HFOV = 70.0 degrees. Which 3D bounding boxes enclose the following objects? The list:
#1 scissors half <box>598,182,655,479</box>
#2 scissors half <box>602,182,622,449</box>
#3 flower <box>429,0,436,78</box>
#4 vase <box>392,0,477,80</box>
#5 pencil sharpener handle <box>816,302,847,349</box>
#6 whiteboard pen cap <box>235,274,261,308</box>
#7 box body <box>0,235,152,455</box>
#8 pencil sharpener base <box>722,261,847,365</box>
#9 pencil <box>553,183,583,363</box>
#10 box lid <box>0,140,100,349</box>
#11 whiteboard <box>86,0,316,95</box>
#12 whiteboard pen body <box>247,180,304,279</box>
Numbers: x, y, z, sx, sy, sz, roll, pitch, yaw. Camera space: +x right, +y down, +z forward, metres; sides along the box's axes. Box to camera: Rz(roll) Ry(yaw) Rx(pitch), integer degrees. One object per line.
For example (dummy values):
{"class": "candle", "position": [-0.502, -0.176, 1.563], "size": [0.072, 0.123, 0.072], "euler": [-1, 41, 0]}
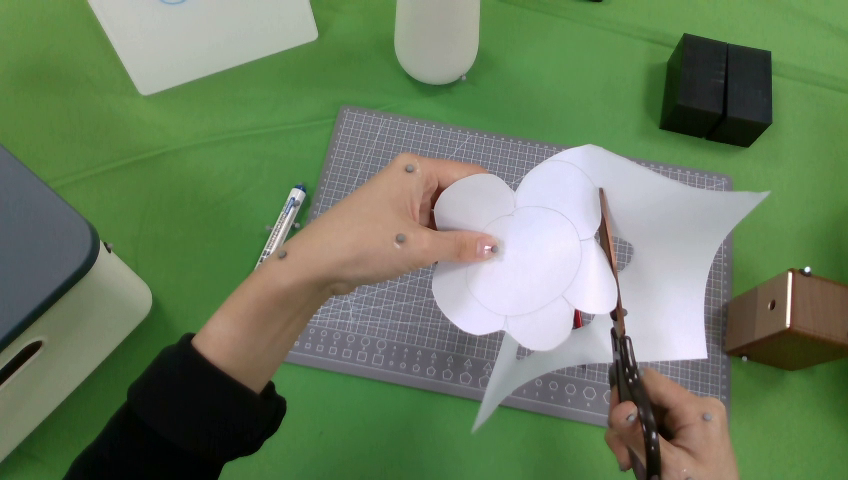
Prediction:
{"class": "scissors half", "position": [0.114, 0.053, 0.348], "size": [0.013, 0.040, 0.175], "euler": [-9, 89, 2]}
{"class": "scissors half", "position": [0.116, 0.049, 0.368], "size": [0.013, 0.040, 0.176], "euler": [-7, 110, 7]}
{"class": "flower", "position": [0.009, -0.306, 0.565], "size": [0.044, 0.365, 0.038], "euler": [4, 51, 3]}
{"class": "vase", "position": [0.012, -0.262, 0.637], "size": [0.098, 0.201, 0.097], "euler": [0, 67, 0]}
{"class": "pencil sharpener handle", "position": [0.393, 0.082, 0.555], "size": [0.030, 0.068, 0.035], "euler": [15, 62, 1]}
{"class": "whiteboard pen cap", "position": [-0.173, 0.050, 0.603], "size": [0.018, 0.018, 0.033], "euler": [17, 64, 5]}
{"class": "box body", "position": [-0.463, 0.014, 0.531], "size": [0.362, 0.161, 0.253], "euler": [36, 72, 11]}
{"class": "pencil sharpener base", "position": [0.343, 0.072, 0.567], "size": [0.077, 0.107, 0.061], "euler": [15, 68, 1]}
{"class": "pencil", "position": [0.150, 0.030, 0.628], "size": [0.012, 0.012, 0.192], "euler": [-2, 71, -2]}
{"class": "box lid", "position": [-0.463, -0.015, 0.462], "size": [0.370, 0.015, 0.262], "euler": [37, 71, 11]}
{"class": "whiteboard", "position": [-0.270, -0.350, 0.637], "size": [0.217, 0.308, 0.142], "euler": [-22, 51, -10]}
{"class": "whiteboard pen body", "position": [-0.157, -0.002, 0.626], "size": [0.017, 0.017, 0.140], "euler": [17, 67, 5]}
